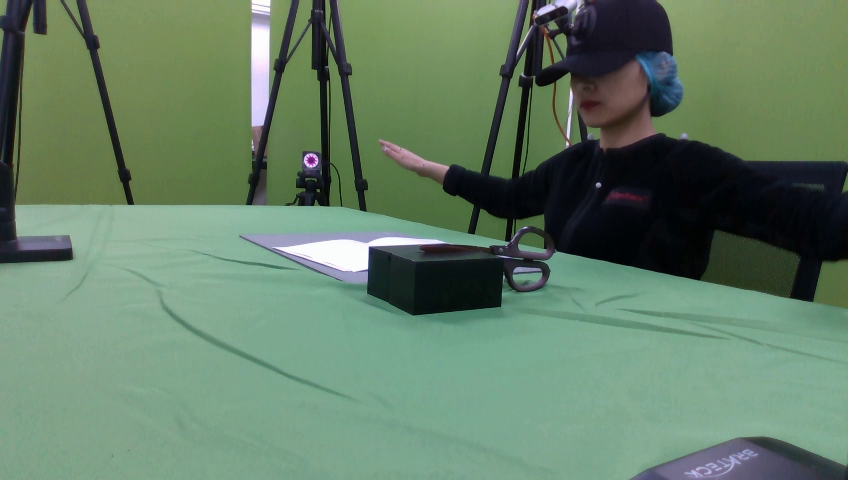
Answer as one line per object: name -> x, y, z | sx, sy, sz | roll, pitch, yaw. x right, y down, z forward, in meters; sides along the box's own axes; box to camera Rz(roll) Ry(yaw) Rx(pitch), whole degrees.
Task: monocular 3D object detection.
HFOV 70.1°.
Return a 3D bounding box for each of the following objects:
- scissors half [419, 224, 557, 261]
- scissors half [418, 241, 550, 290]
scissors half -> 0.072, 0.004, 0.641 | 0.176, 0.040, 0.013 | -3, 12, -29
scissors half -> 0.067, 0.024, 0.645 | 0.176, 0.040, 0.012 | 17, 7, -31
